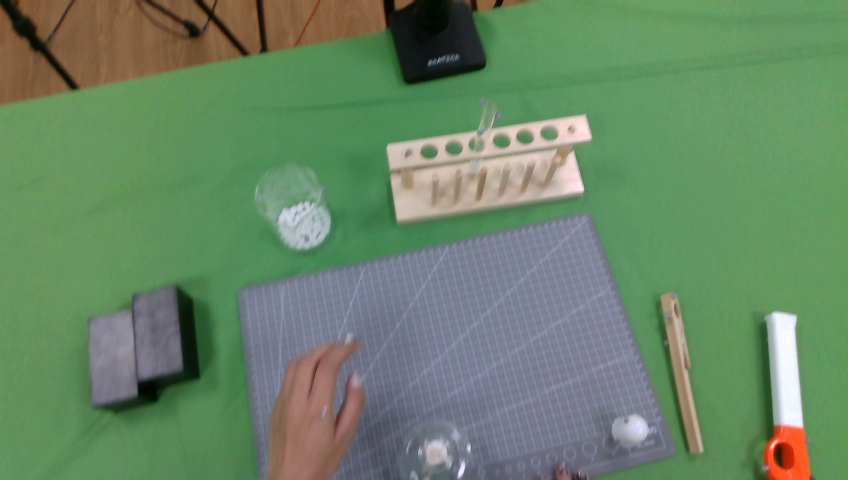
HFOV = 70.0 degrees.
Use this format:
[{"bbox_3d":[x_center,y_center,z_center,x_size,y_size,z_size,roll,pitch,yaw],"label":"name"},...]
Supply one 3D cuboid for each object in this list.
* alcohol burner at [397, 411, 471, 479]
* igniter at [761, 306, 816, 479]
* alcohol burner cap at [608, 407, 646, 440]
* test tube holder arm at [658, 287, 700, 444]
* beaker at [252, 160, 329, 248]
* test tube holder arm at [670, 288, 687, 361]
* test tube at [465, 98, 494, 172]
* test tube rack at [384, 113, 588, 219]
[{"bbox_3d":[0.011,0.212,0.617,0.078,0.120,0.077,0,67,-1],"label":"alcohol burner"},{"bbox_3d":[0.397,0.208,0.665,0.057,0.025,0.274,11,69,-6],"label":"igniter"},{"bbox_3d":[0.223,0.199,0.659,0.034,0.048,0.033,0,67,1],"label":"alcohol burner cap"},{"bbox_3d":[0.292,0.141,0.696,0.013,0.015,0.177,11,66,-32],"label":"test tube holder arm"},{"bbox_3d":[-0.155,-0.036,0.725,0.074,0.101,0.083,-10,69,-3],"label":"beaker"},{"bbox_3d":[0.295,0.100,0.714,0.010,0.015,0.087,12,65,-32],"label":"test tube holder arm"},{"bbox_3d":[0.063,-0.118,0.710,0.017,0.151,0.017,1,69,-3],"label":"test tube"},{"bbox_3d":[0.077,-0.089,0.752,0.242,0.086,0.066,-9,69,-3],"label":"test tube rack"}]
